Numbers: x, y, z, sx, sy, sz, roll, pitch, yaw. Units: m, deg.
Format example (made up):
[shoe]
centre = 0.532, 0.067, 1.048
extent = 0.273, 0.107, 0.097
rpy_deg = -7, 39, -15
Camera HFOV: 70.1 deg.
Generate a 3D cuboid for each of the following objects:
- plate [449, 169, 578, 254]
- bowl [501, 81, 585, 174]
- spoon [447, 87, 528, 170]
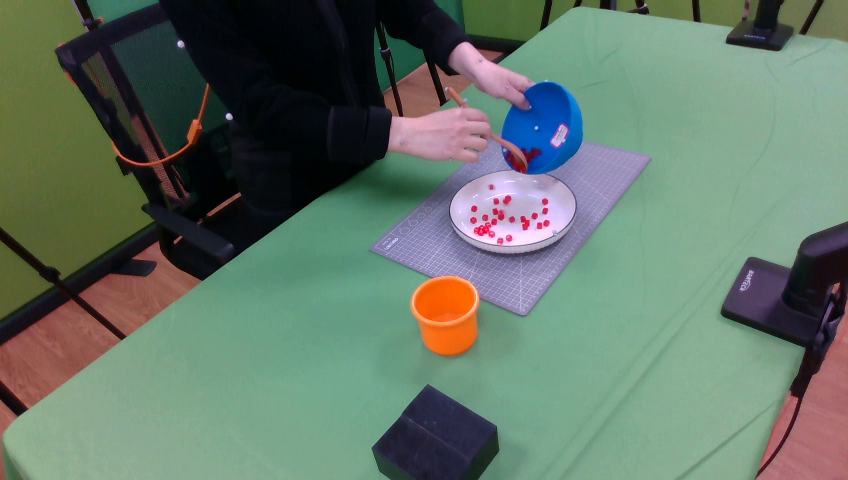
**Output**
[plate]
centre = 0.146, -0.044, 0.993
extent = 0.209, 0.038, 0.208
rpy_deg = -5, 40, 5
[bowl]
centre = 0.206, -0.173, 0.983
extent = 0.077, 0.151, 0.150
rpy_deg = 11, 26, -37
[spoon]
centre = 0.100, -0.168, 0.926
extent = 0.021, 0.195, 0.041
rpy_deg = -49, 32, 12
